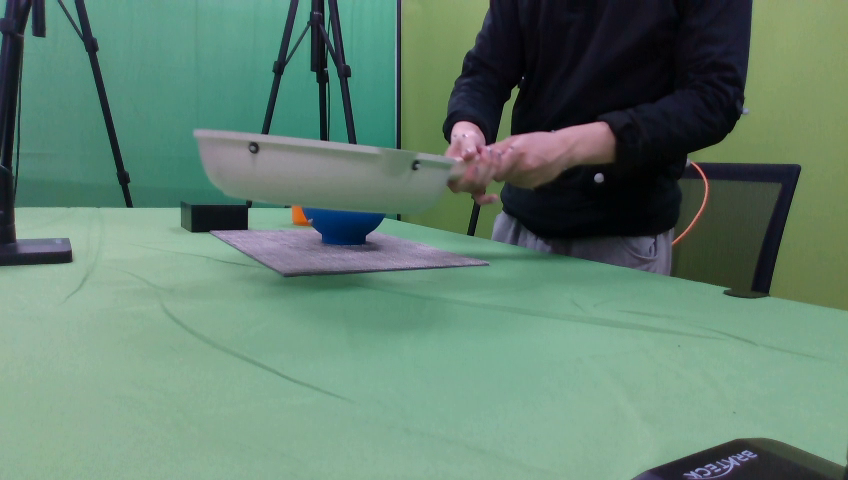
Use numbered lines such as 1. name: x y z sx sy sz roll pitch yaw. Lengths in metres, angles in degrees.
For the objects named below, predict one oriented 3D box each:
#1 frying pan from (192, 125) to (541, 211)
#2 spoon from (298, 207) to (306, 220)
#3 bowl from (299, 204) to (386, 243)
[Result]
1. frying pan: -0.030 -0.098 0.763 0.490 0.102 0.305 -9 15 -33
2. spoon: -0.264 -0.114 1.338 0.042 0.193 0.021 0 -37 -21
3. bowl: -0.136 -0.037 1.018 0.151 0.077 0.151 2 7 0
